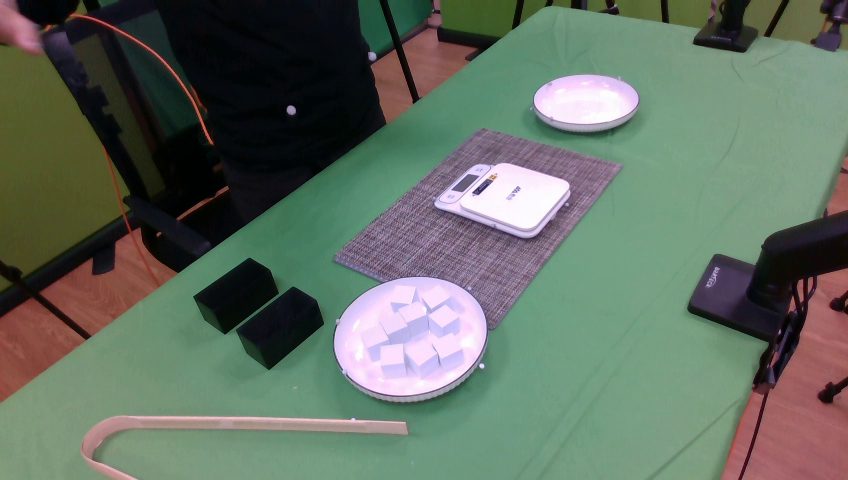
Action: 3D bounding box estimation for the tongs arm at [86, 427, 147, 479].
[{"bbox_3d":[-0.232,0.280,0.665,0.383,0.026,0.051,9,42,20],"label":"tongs arm"}]

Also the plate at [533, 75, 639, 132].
[{"bbox_3d":[0.327,-0.272,1.228,0.209,0.038,0.208,-4,40,4],"label":"plate"}]

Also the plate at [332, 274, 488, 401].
[{"bbox_3d":[-0.017,0.130,0.808,0.207,0.039,0.206,-4,41,4],"label":"plate"}]

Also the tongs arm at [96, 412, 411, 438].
[{"bbox_3d":[-0.208,0.226,0.732,0.387,0.028,0.028,-1,43,7],"label":"tongs arm"}]

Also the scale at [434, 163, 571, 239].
[{"bbox_3d":[0.132,-0.075,1.025,0.199,0.032,0.149,22,48,30],"label":"scale"}]
